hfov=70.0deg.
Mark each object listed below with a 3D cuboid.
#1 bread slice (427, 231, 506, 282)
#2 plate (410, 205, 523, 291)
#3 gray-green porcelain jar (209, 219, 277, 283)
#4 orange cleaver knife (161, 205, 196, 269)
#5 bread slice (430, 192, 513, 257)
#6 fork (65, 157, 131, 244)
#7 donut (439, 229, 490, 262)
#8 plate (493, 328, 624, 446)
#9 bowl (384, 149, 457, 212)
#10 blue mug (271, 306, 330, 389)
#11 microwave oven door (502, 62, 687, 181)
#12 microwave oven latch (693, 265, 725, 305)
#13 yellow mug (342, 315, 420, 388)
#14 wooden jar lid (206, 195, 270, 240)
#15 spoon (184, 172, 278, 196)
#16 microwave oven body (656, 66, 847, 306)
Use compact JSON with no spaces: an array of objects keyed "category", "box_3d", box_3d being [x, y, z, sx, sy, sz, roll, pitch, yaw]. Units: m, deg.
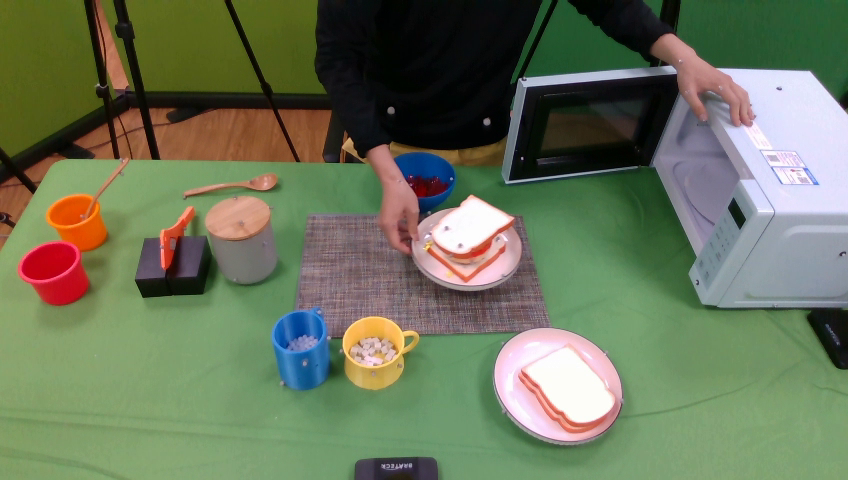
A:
[{"category":"bread slice","box_3d":[0.086,0.012,1.131,0.131,0.019,0.104,-35,56,-29]},{"category":"plate","box_3d":[0.077,0.017,1.122,0.209,0.038,0.208,1,46,-1]},{"category":"gray-green porcelain jar","box_3d":[-0.323,0.007,1.092,0.106,0.127,0.105,2,46,-2]},{"category":"orange cleaver knife","box_3d":[-0.454,-0.010,1.129,0.012,0.077,0.210,-1,20,-5]},{"category":"bread slice","box_3d":[0.079,-0.023,1.079,0.106,0.018,0.134,30,60,35]},{"category":"fork","box_3d":[-0.609,-0.074,1.133,0.207,0.019,0.028,-52,50,10]},{"category":"donut","box_3d":[0.072,-0.002,1.102,0.099,0.048,0.098,-10,48,11]},{"category":"plate","box_3d":[0.213,0.236,0.974,0.208,0.039,0.206,2,46,-2]},{"category":"bowl","box_3d":[-0.009,-0.112,1.262,0.151,0.077,0.150,2,47,-2]},{"category":"blue mug","box_3d":[-0.188,0.163,0.969,0.082,0.106,0.116,15,47,10]},{"category":"microwave oven door","box_3d":[0.353,-0.247,1.277,0.356,0.245,0.039,-8,48,-11]},{"category":"microwave oven latch","box_3d":[0.523,0.082,1.116,0.030,0.029,0.078,2,46,-1]},{"category":"yellow mug","box_3d":[-0.068,0.177,0.990,0.131,0.064,0.099,-16,50,-19]},{"category":"wooden jar lid","box_3d":[-0.319,-0.036,1.046,0.108,0.021,0.107,1,44,-1]},{"category":"spoon","box_3d":[-0.405,-0.116,1.275,0.194,0.022,0.041,-8,66,-12]},{"category":"microwave oven body","box_3d":[0.669,-0.111,1.176,0.326,0.261,0.439,0,46,-3]}]
